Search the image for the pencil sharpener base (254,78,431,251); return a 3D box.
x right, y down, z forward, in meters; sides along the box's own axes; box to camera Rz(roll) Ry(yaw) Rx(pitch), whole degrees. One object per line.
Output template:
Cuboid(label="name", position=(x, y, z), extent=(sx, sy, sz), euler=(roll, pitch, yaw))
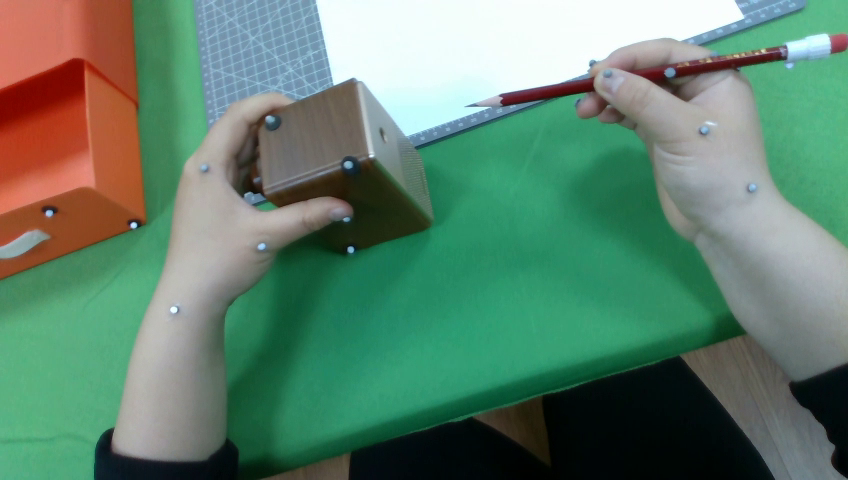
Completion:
Cuboid(label="pencil sharpener base", position=(-0.050, -0.042, 0.393), extent=(0.076, 0.108, 0.061), euler=(-18, 66, 15))

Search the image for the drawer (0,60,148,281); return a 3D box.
Cuboid(label="drawer", position=(-0.341, -0.080, 0.504), extent=(0.194, 0.074, 0.210), euler=(-20, 66, 8))

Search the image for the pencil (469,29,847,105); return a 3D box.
Cuboid(label="pencil", position=(0.119, -0.090, 0.326), extent=(0.194, 0.012, 0.012), euler=(-7, 68, 13))

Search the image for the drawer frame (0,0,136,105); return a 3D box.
Cuboid(label="drawer frame", position=(-0.373, -0.183, 0.549), extent=(0.201, 0.083, 0.211), euler=(-20, 65, 8))

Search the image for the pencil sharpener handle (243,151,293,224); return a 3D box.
Cuboid(label="pencil sharpener handle", position=(-0.101, -0.030, 0.394), extent=(0.030, 0.068, 0.035), euler=(-18, 63, 15))
